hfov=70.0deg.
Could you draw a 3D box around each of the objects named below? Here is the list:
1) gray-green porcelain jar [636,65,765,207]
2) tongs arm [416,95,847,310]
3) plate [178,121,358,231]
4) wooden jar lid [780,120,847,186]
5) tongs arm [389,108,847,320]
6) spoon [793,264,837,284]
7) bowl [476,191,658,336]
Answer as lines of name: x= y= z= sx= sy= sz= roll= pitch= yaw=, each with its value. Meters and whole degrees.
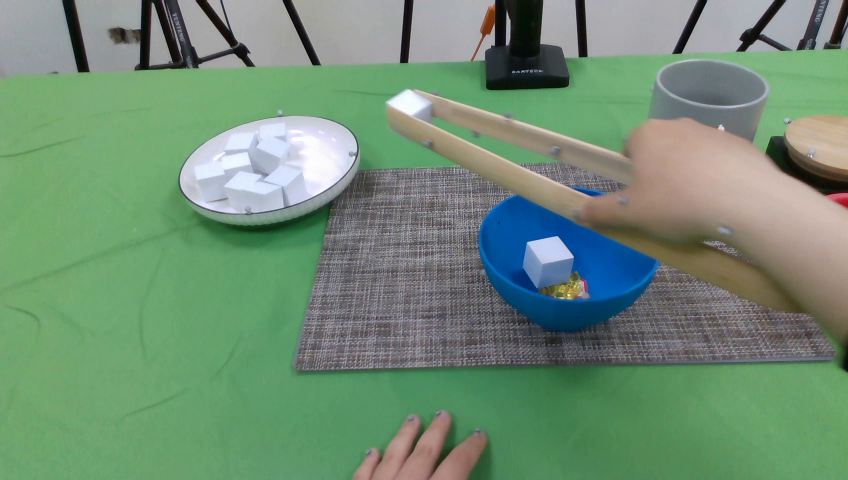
gray-green porcelain jar: x=0.283 y=-0.103 z=0.637 sx=0.106 sy=0.127 sz=0.105 roll=-3 pitch=41 yaw=3
tongs arm: x=0.113 y=-0.049 z=0.455 sx=0.381 sy=0.027 sz=0.051 roll=27 pitch=50 yaw=38
plate: x=-0.180 y=-0.074 z=0.716 sx=0.209 sy=0.038 sz=0.207 roll=-3 pitch=40 yaw=3
wooden jar lid: x=0.422 y=-0.089 z=0.619 sx=0.108 sy=0.021 sz=0.107 roll=-3 pitch=40 yaw=3
tongs arm: x=0.095 y=-0.038 z=0.445 sx=0.028 sy=0.028 sz=0.383 roll=-29 pitch=42 yaw=-30
spoon: x=0.406 y=0.003 z=0.495 sx=0.022 sy=0.193 sz=0.041 roll=43 pitch=42 yaw=-16
bowl: x=0.121 y=0.031 z=0.532 sx=0.151 sy=0.077 sz=0.150 roll=-2 pitch=40 yaw=2
